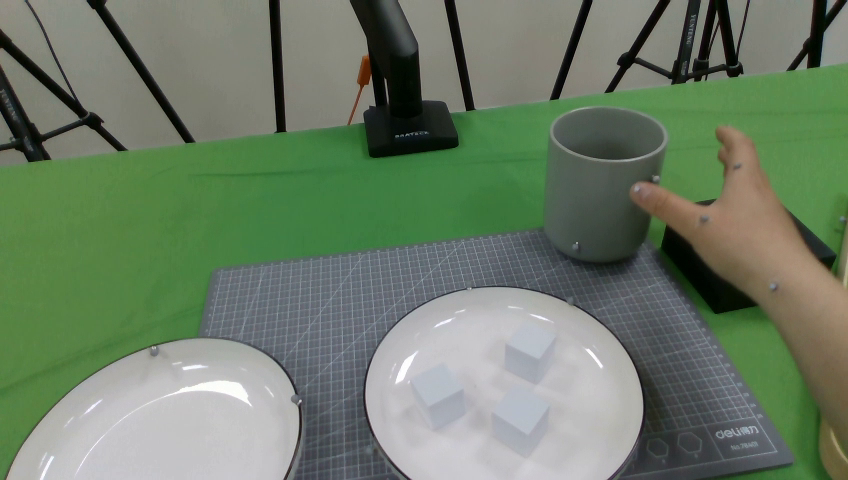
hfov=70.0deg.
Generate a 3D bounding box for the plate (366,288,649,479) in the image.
[{"bbox_3d":[0.061,0.120,0.465,0.207,0.039,0.205,-2,39,2],"label":"plate"}]

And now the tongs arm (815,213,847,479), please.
[{"bbox_3d":[0.375,0.050,0.533,0.028,0.028,0.386,21,46,23],"label":"tongs arm"}]

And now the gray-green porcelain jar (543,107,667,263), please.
[{"bbox_3d":[0.171,-0.049,0.592,0.106,0.127,0.105,-3,39,2],"label":"gray-green porcelain jar"}]

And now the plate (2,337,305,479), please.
[{"bbox_3d":[-0.188,0.160,0.438,0.209,0.038,0.207,-4,39,3],"label":"plate"}]
